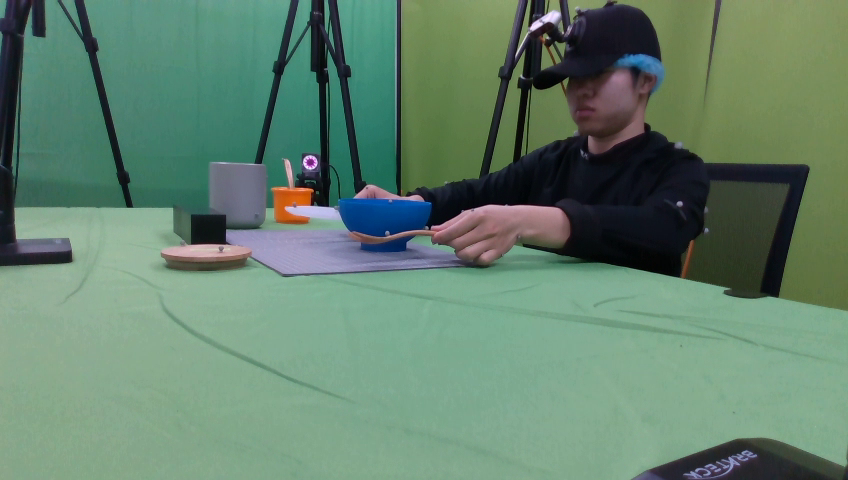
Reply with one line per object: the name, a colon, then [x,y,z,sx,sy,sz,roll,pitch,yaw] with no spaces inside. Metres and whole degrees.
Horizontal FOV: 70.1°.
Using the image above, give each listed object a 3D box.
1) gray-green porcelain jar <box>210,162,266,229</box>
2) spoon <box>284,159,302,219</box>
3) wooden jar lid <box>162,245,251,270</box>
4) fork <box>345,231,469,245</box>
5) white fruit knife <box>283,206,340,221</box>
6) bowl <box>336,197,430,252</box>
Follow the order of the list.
gray-green porcelain jar: [-0.367,-0.088,1.195,0.106,0.126,0.106,3,8,0]
spoon: [-0.302,-0.118,1.370,0.042,0.193,0.021,4,-39,-24]
wooden jar lid: [-0.278,0.022,0.777,0.108,0.020,0.108,2,6,0]
fork: [-0.017,-0.003,0.849,0.208,0.018,0.028,-3,-10,-37]
white fruit knife: [-0.148,-0.047,1.054,0.208,0.027,0.016,3,-14,-37]
bowl: [-0.066,-0.024,0.967,0.151,0.077,0.151,3,8,0]
